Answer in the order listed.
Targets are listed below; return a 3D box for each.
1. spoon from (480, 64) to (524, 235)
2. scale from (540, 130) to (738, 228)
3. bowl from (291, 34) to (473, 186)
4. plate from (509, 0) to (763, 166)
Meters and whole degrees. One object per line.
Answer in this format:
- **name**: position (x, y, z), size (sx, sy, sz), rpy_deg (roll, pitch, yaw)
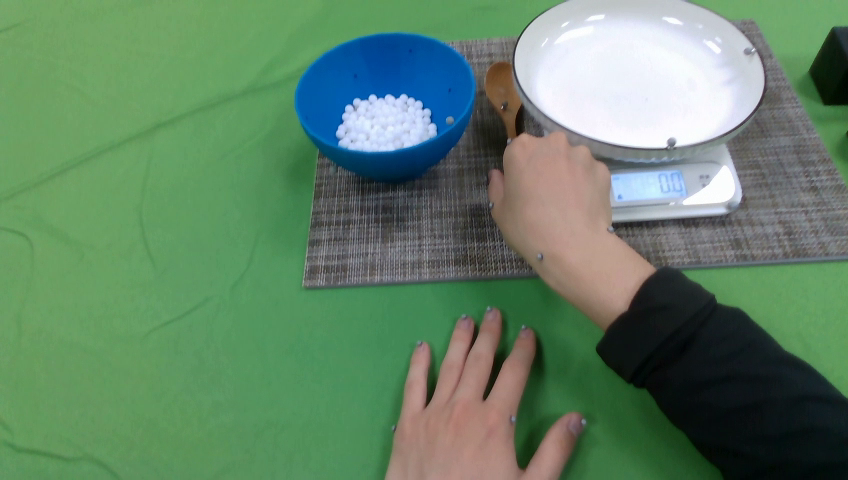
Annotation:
- **spoon**: position (0.074, -0.087, 0.543), size (0.042, 0.022, 0.192), rpy_deg (5, 55, -7)
- **scale**: position (0.179, -0.100, 0.538), size (0.148, 0.032, 0.199), rpy_deg (-4, 55, 2)
- **bowl**: position (-0.031, -0.100, 0.527), size (0.151, 0.077, 0.150), rpy_deg (-2, 54, 3)
- **plate**: position (0.177, -0.138, 0.525), size (0.209, 0.038, 0.207), rpy_deg (-2, 54, 3)
